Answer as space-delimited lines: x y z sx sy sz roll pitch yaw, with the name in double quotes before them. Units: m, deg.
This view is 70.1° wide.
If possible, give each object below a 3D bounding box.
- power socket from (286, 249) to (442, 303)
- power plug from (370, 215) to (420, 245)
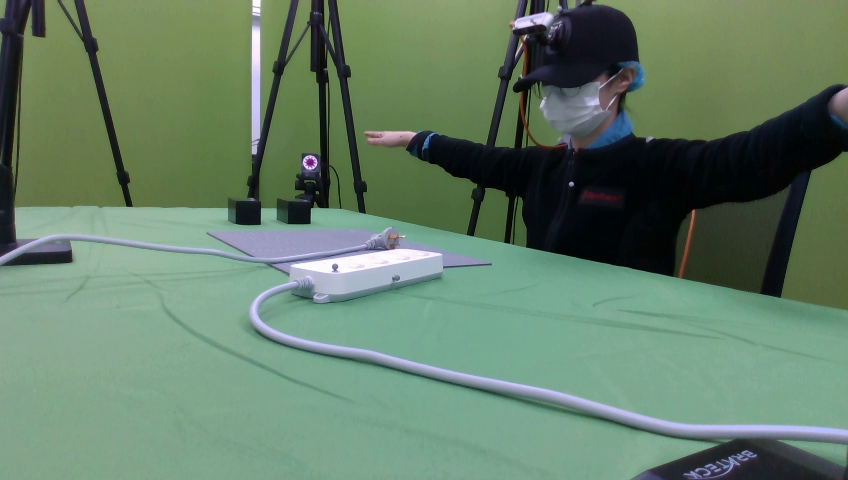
"power socket" -0.059 0.035 0.688 0.072 0.032 0.228 6 8 33
"power plug" -0.050 -0.024 0.961 0.053 0.072 0.035 37 -5 -36
